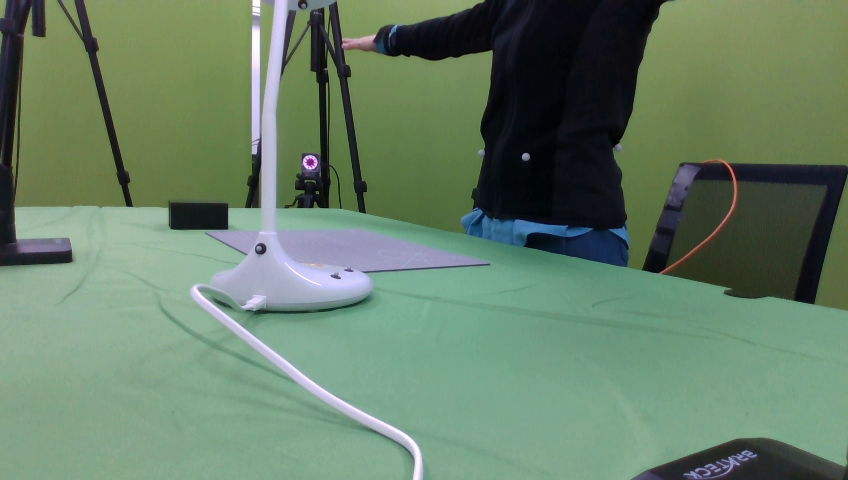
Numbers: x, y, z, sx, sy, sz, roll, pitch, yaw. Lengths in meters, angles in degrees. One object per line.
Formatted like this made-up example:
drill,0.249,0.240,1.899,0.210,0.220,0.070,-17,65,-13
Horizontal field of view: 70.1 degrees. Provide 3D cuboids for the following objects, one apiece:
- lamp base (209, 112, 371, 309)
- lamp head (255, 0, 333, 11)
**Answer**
lamp base,-0.133,-0.032,0.594,0.160,0.180,0.179,2,10,3
lamp head,-0.141,-0.318,0.630,0.113,0.112,0.123,1,-32,-9
